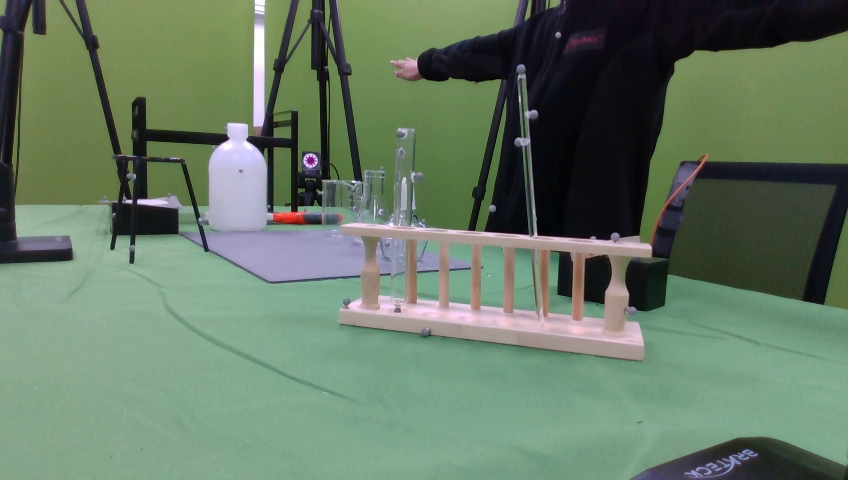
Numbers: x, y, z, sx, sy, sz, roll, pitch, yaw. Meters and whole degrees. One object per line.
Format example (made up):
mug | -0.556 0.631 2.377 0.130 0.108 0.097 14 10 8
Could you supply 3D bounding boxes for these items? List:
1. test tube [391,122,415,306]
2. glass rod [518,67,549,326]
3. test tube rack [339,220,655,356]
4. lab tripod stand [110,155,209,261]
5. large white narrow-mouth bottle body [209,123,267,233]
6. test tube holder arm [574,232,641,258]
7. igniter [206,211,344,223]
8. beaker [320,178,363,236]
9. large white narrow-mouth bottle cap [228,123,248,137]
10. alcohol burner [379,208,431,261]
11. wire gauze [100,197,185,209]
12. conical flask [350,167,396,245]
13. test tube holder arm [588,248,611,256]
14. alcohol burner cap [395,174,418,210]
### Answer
test tube | -0.017 -0.019 0.488 0.017 0.150 0.017 2 11 0
glass rod | 0.084 -0.029 0.459 0.008 0.199 0.008 -7 11 2
test tube rack | 0.056 0.032 0.495 0.242 0.085 0.067 4 7 15
lab tripod stand | -0.361 -0.046 0.806 0.148 0.131 0.148 2 5 0
large white narrow-mouth bottle body | -0.340 -0.115 1.109 0.102 0.194 0.102 2 8 0
test tube holder arm | 0.202 0.003 0.651 0.013 0.015 0.179 -3 2 36
igniter | -0.302 -0.048 1.249 0.278 0.025 0.057 -2 -2 -26
beaker | -0.145 -0.059 1.079 0.074 0.100 0.083 -4 10 -36
large white narrow-mouth bottle cap | -0.338 -0.199 1.097 0.038 0.024 0.037 2 8 0
alcohol burner | -0.027 -0.031 0.838 0.078 0.119 0.078 0 6 0
wire gauze | -0.469 -0.062 1.008 0.126 0.011 0.121 -2 8 -25
conical flask | -0.082 -0.055 0.975 0.075 0.122 0.075 2 8 0
test tube holder arm | 0.180 0.006 0.611 0.010 0.015 0.088 -3 2 36
alcohol burner cap | -0.026 -0.067 0.833 0.034 0.048 0.034 -2 12 1
